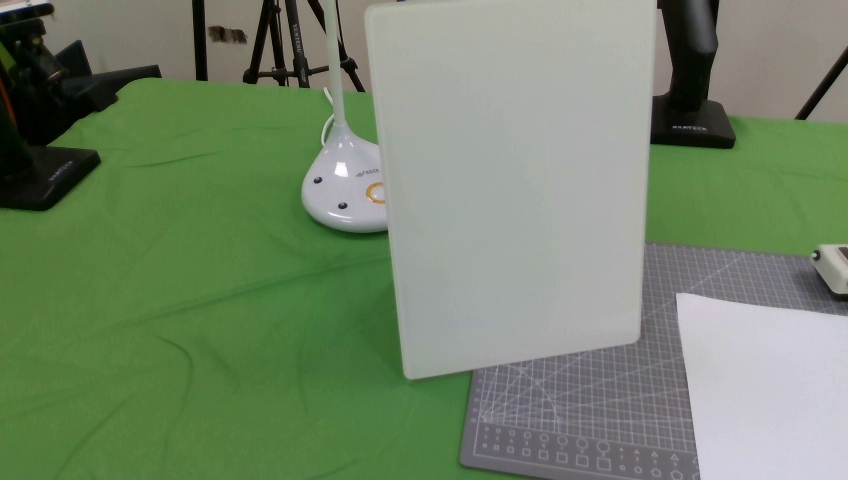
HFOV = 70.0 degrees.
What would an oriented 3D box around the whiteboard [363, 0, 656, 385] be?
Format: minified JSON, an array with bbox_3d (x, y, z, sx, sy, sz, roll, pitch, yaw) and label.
[{"bbox_3d":[0.067,-0.055,0.543,0.217,0.307,0.142,-8,21,-7],"label":"whiteboard"}]

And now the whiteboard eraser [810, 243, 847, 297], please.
[{"bbox_3d":[0.444,0.030,0.588,0.113,0.042,0.055,0,41,1],"label":"whiteboard eraser"}]

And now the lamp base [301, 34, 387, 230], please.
[{"bbox_3d":[-0.077,-0.129,0.689,0.161,0.182,0.177,-27,44,-28],"label":"lamp base"}]
